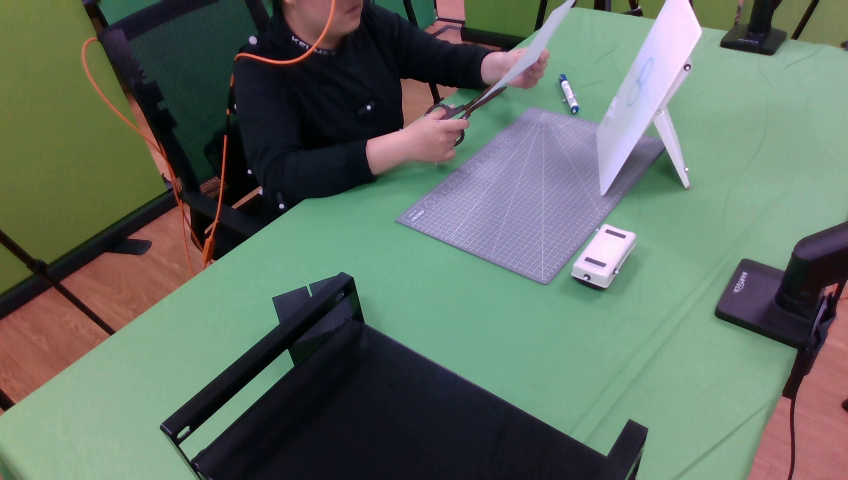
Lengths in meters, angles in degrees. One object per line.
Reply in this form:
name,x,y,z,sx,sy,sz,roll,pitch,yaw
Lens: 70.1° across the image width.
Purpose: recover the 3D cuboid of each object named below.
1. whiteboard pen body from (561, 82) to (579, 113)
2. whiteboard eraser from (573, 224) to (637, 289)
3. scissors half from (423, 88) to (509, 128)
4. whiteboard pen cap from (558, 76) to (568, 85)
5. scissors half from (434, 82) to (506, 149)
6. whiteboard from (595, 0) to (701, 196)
whiteboard pen body,0.311,-0.312,1.297,0.017,0.017,0.140,-6,41,3
whiteboard eraser,0.267,0.025,0.891,0.055,0.042,0.113,19,47,31
scissors half,0.074,-0.244,1.099,0.174,0.040,0.013,-13,10,25
whiteboard pen cap,0.310,-0.350,1.341,0.018,0.018,0.033,-6,40,2
scissors half,0.085,-0.225,1.101,0.040,0.174,0.013,47,28,-2
whiteboard,0.421,-0.227,1.010,0.144,0.305,0.216,18,42,-2
